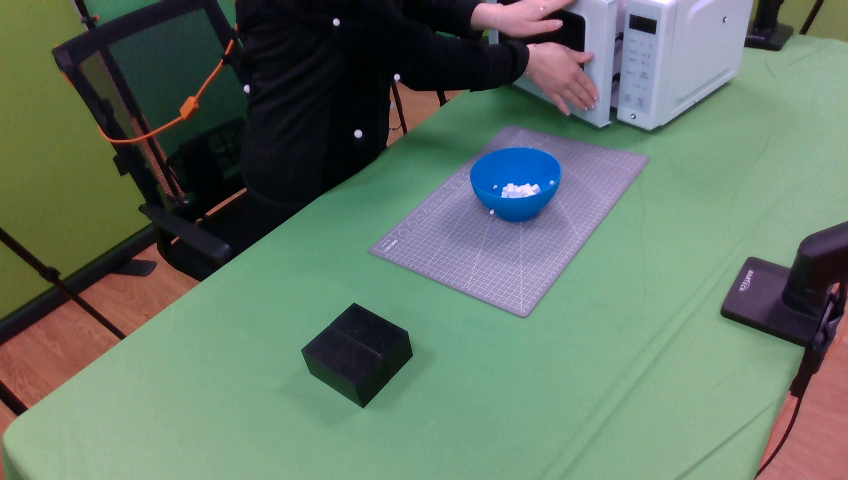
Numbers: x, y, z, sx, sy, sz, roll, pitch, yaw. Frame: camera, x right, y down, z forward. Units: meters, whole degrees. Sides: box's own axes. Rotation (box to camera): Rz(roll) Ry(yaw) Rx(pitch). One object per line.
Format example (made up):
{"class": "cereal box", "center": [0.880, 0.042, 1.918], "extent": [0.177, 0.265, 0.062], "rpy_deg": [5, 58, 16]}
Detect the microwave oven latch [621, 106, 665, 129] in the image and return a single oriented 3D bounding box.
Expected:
{"class": "microwave oven latch", "center": [0.413, -0.237, 1.146], "extent": [0.030, 0.029, 0.078], "rpy_deg": [-32, 44, -23]}

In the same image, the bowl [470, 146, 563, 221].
{"class": "bowl", "center": [0.155, -0.084, 1.008], "extent": [0.151, 0.077, 0.150], "rpy_deg": [-6, 39, 5]}

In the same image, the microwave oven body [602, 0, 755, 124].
{"class": "microwave oven body", "center": [0.402, -0.458, 1.259], "extent": [0.327, 0.261, 0.437], "rpy_deg": [-33, 45, -24]}

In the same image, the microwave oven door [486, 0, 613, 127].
{"class": "microwave oven door", "center": [0.244, -0.399, 1.213], "extent": [0.039, 0.245, 0.352], "rpy_deg": [-28, 43, -20]}
